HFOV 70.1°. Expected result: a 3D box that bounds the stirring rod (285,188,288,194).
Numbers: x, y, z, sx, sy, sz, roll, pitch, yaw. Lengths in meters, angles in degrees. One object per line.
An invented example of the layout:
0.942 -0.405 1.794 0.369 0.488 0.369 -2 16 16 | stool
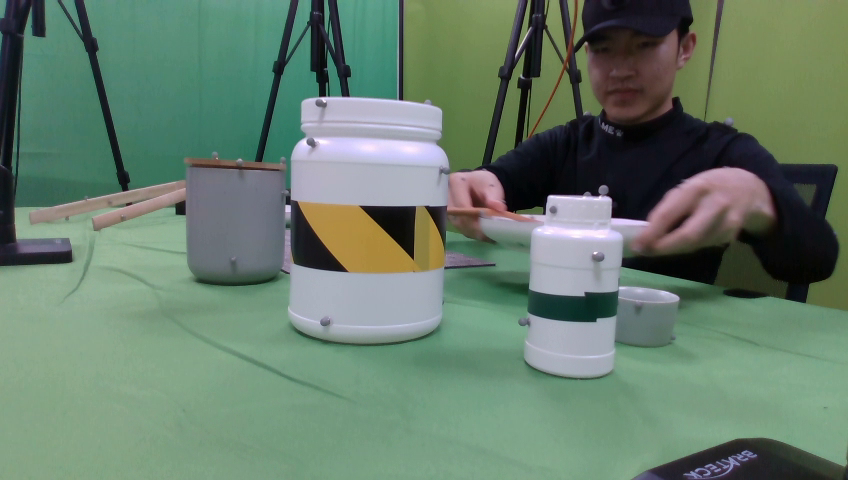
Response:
-0.354 -0.122 1.518 0.006 0.014 0.176 2 6 1 | stirring rod

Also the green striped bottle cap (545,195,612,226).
0.106 -0.020 0.414 0.044 0.020 0.044 2 4 0 | green striped bottle cap

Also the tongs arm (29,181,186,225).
-0.609 -0.083 1.245 0.050 0.026 0.386 5 16 23 | tongs arm

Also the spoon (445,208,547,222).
0.101 -0.028 0.725 0.195 0.021 0.041 7 -8 -24 | spoon

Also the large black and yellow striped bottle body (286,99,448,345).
-0.047 -0.018 0.501 0.131 0.184 0.130 2 7 0 | large black and yellow striped bottle body

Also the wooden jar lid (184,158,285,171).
-0.210 -0.078 0.674 0.108 0.020 0.108 4 6 0 | wooden jar lid

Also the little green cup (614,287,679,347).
0.180 0.064 0.506 0.061 0.038 0.061 2 8 0 | little green cup

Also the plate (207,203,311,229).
-0.342 -0.050 1.259 0.208 0.039 0.207 2 7 0 | plate

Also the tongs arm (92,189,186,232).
-0.534 -0.076 1.221 0.028 0.028 0.388 -2 15 12 | tongs arm

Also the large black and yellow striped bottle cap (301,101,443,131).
-0.042 -0.100 0.491 0.115 0.019 0.115 1 8 0 | large black and yellow striped bottle cap

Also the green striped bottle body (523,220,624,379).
0.104 0.031 0.422 0.063 0.119 0.063 3 7 0 | green striped bottle body

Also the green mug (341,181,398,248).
-0.090 -0.044 0.997 0.093 0.105 0.125 1 7 -8 | green mug

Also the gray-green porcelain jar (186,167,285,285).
-0.212 -0.017 0.682 0.106 0.126 0.106 2 7 0 | gray-green porcelain jar

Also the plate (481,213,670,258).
0.168 -0.007 0.692 0.209 0.038 0.209 2 6 0 | plate
